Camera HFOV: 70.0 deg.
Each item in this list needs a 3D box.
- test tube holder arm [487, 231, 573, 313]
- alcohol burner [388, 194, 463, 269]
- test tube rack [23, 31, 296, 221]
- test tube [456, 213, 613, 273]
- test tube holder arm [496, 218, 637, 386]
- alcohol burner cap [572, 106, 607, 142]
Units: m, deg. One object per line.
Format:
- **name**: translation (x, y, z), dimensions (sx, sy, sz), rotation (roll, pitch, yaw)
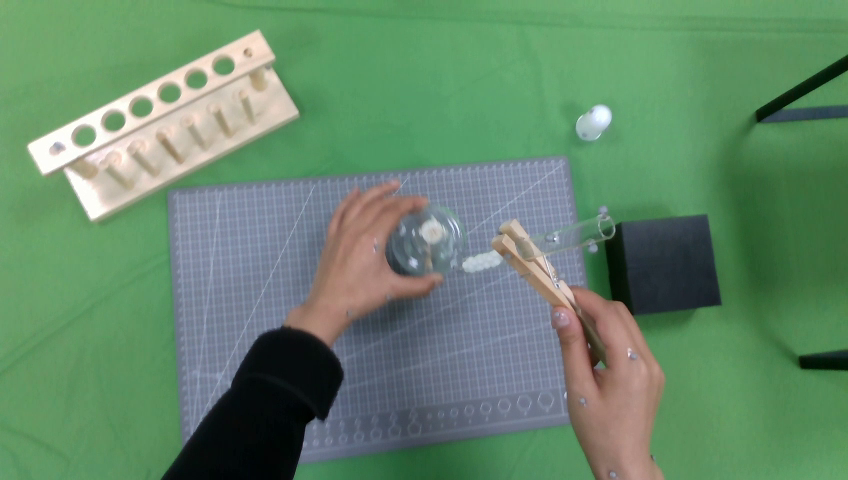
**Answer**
- **test tube holder arm**: translation (0.079, 0.025, 0.441), dimensions (0.088, 0.015, 0.010), rotation (41, 64, -23)
- **alcohol burner**: translation (0.003, -0.011, 0.606), dimensions (0.078, 0.119, 0.077), rotation (1, 82, -5)
- **test tube rack**: translation (-0.259, -0.114, 0.622), dimensions (0.242, 0.085, 0.066), rotation (-30, 85, -10)
- **test tube**: translation (0.070, 0.005, 0.428), dimensions (0.017, 0.150, 0.017), rotation (8, 74, -32)
- **test tube holder arm**: translation (0.112, 0.051, 0.460), dimensions (0.179, 0.015, 0.013), rotation (48, 63, -20)
- **alcohol burner cap**: translation (0.194, -0.136, 0.702), dimensions (0.034, 0.048, 0.033), rotation (1, 81, -5)
